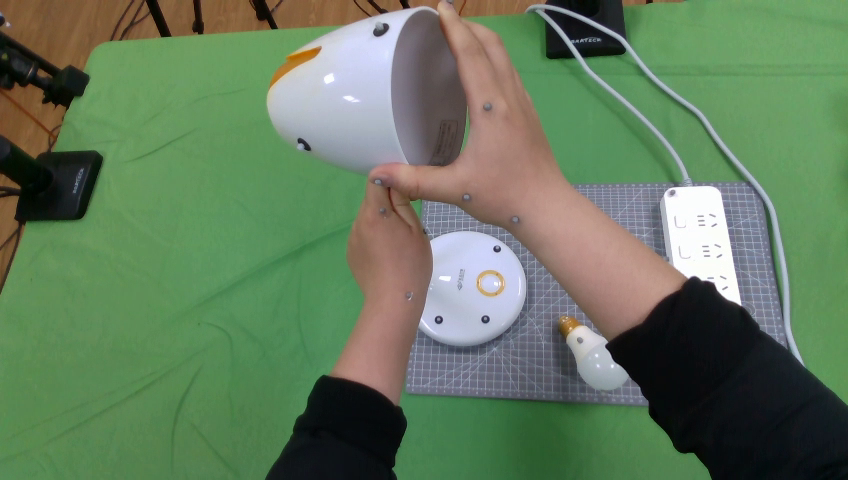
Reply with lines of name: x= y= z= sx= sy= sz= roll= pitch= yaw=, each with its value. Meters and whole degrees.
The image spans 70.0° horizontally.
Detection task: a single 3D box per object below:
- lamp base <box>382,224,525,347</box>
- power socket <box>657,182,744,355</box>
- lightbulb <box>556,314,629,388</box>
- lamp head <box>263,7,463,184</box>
lamp base: x=0.025 y=0.029 z=0.718 sx=0.179 sy=0.182 sz=0.159 roll=-6 pitch=64 yaw=10
power socket: x=0.338 y=0.027 z=0.749 sx=0.072 sy=0.033 sz=0.225 roll=-1 pitch=64 yaw=8
lightbulb: x=0.194 y=0.127 z=0.716 sx=0.059 sy=0.060 sz=0.106 roll=-34 pitch=50 yaw=-7
lamp head: x=-0.045 y=-0.092 z=0.417 sx=0.122 sy=0.113 sz=0.112 roll=1 pitch=64 yaw=31
